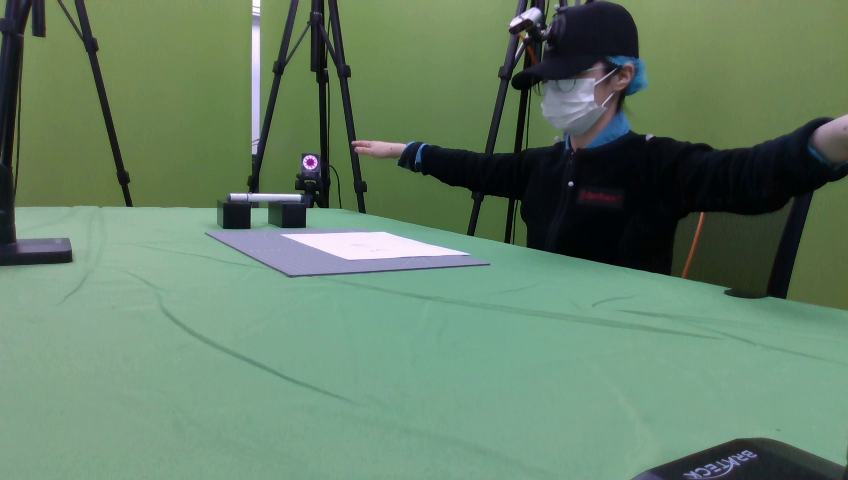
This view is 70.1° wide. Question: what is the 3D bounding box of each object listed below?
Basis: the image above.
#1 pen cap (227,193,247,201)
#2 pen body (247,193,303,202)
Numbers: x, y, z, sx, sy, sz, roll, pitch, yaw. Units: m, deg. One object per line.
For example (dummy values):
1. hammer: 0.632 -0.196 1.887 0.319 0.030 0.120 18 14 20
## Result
1. pen cap: -0.373 -0.085 1.209 0.039 0.017 0.017 -1 8 -34
2. pen body: -0.321 -0.087 1.244 0.145 0.017 0.017 -2 9 -33
